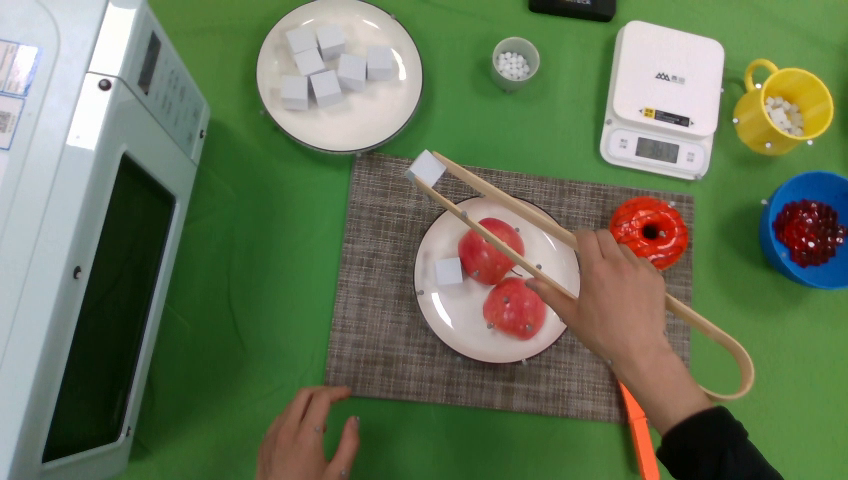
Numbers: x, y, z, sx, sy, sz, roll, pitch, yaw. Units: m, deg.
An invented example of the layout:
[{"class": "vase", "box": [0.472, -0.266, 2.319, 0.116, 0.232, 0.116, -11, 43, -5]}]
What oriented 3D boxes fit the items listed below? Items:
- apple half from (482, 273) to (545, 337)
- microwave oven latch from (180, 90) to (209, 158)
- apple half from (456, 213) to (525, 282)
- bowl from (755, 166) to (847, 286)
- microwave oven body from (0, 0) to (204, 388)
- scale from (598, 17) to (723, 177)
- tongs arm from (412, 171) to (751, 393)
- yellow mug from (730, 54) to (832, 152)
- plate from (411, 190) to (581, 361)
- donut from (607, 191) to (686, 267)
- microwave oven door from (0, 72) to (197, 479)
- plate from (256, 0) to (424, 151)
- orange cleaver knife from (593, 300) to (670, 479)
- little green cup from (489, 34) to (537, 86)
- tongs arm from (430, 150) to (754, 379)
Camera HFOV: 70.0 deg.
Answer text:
[{"class": "apple half", "box": [0.111, 0.076, 0.732, 0.081, 0.033, 0.081, 0, 81, -2]}, {"class": "microwave oven latch", "box": [-0.279, -0.140, 0.723, 0.030, 0.029, 0.079, 11, 80, -4]}, {"class": "apple half", "box": [0.082, 0.005, 0.732, 0.081, 0.053, 0.074, -37, 82, -11]}, {"class": "bowl", "box": [0.484, -0.011, 0.775, 0.151, 0.077, 0.151, 1, 80, -5]}, {"class": "microwave oven body", "box": [-0.443, -0.012, 0.586, 0.326, 0.260, 0.440, 10, 80, -4]}, {"class": "scale", "box": [0.318, -0.193, 0.814, 0.149, 0.031, 0.200, 11, 79, -3]}, {"class": "tongs arm", "box": [0.144, 0.030, 0.616, 0.382, 0.027, 0.050, 40, 75, 17]}, {"class": "yellow mug", "box": [0.468, -0.189, 0.810, 0.100, 0.064, 0.130, -25, 82, -9]}, {"class": "plate", "box": [0.086, 0.043, 0.742, 0.209, 0.038, 0.208, 1, 80, -6]}, {"class": "donut", "box": [0.280, -0.013, 0.768, 0.099, 0.048, 0.098, 1, 80, -3]}, {"class": "microwave oven door", "box": [-0.306, 0.053, 0.582, 0.039, 0.244, 0.354, 9, 79, -3]}, {"class": "plate", "box": [-0.104, -0.209, 0.772, 0.208, 0.039, 0.207, 1, 80, -5]}, {"class": "orange cleaver knife", "box": [0.265, 0.180, 0.745, 0.077, 0.012, 0.210, -10, 80, -12]}, {"class": "little green cup", "box": [0.114, -0.234, 0.798, 0.061, 0.039, 0.061, 1, 79, -5]}, {"class": "tongs arm", "box": [0.158, 0.013, 0.621, 0.385, 0.028, 0.028, 35, 70, 16]}]
